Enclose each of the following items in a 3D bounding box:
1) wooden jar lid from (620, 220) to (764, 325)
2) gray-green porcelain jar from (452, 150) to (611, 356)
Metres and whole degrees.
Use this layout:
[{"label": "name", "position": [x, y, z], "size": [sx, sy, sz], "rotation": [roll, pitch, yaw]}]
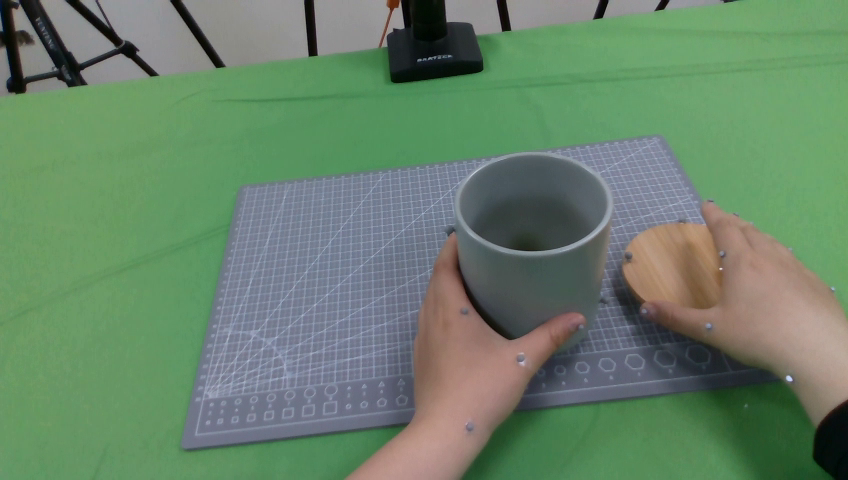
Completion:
[{"label": "wooden jar lid", "position": [0.214, 0.027, 0.491], "size": [0.108, 0.021, 0.107], "rotation": [-4, 44, 5]}, {"label": "gray-green porcelain jar", "position": [0.077, 0.015, 0.445], "size": [0.106, 0.128, 0.105], "rotation": [-4, 45, 4]}]
